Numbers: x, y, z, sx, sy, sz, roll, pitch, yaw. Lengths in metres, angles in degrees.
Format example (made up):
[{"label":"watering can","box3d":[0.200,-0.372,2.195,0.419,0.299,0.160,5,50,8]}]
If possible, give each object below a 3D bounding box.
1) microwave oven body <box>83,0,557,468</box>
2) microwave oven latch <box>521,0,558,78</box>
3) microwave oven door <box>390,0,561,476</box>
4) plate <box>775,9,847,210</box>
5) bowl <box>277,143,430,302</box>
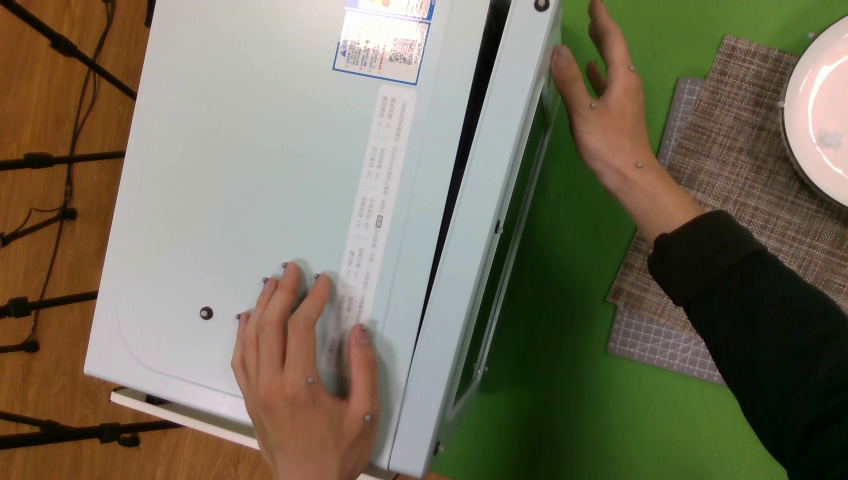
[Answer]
[{"label":"microwave oven body","box3d":[-0.081,-0.073,0.578,0.325,0.261,0.441,13,93,12]},{"label":"microwave oven latch","box3d":[0.120,-0.212,0.632,0.030,0.029,0.079,14,93,12]},{"label":"microwave oven door","box3d":[0.056,0.002,0.541,0.039,0.244,0.356,16,93,14]},{"label":"plate","box3d":[0.443,-0.121,0.571,0.208,0.038,0.209,0,88,13]},{"label":"bowl","box3d":[-0.061,-0.015,0.605,0.151,0.077,0.151,0,89,12]}]
